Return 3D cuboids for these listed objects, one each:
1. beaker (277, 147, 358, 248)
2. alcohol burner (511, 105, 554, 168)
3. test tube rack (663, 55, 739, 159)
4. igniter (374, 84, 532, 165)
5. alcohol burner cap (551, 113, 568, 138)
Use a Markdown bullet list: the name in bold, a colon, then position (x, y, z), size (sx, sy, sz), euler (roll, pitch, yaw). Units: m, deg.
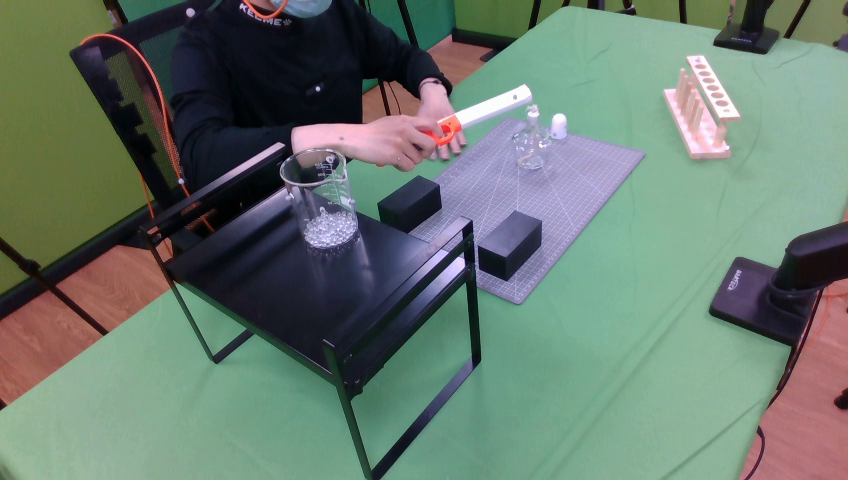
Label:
- **beaker**: position (-0.117, -0.046, 0.705), size (0.083, 0.101, 0.074), euler (17, 47, 25)
- **alcohol burner**: position (0.196, -0.190, 1.088), size (0.078, 0.119, 0.077), euler (-3, 42, 3)
- **test tube rack**: position (0.518, -0.256, 1.144), size (0.066, 0.085, 0.241), euler (-1, 41, 8)
- **igniter**: position (0.045, -0.184, 0.957), size (0.277, 0.025, 0.057), euler (-24, 57, -9)
- **alcohol burner cap**: position (0.263, -0.223, 1.172), size (0.034, 0.048, 0.033), euler (-5, 39, 4)
